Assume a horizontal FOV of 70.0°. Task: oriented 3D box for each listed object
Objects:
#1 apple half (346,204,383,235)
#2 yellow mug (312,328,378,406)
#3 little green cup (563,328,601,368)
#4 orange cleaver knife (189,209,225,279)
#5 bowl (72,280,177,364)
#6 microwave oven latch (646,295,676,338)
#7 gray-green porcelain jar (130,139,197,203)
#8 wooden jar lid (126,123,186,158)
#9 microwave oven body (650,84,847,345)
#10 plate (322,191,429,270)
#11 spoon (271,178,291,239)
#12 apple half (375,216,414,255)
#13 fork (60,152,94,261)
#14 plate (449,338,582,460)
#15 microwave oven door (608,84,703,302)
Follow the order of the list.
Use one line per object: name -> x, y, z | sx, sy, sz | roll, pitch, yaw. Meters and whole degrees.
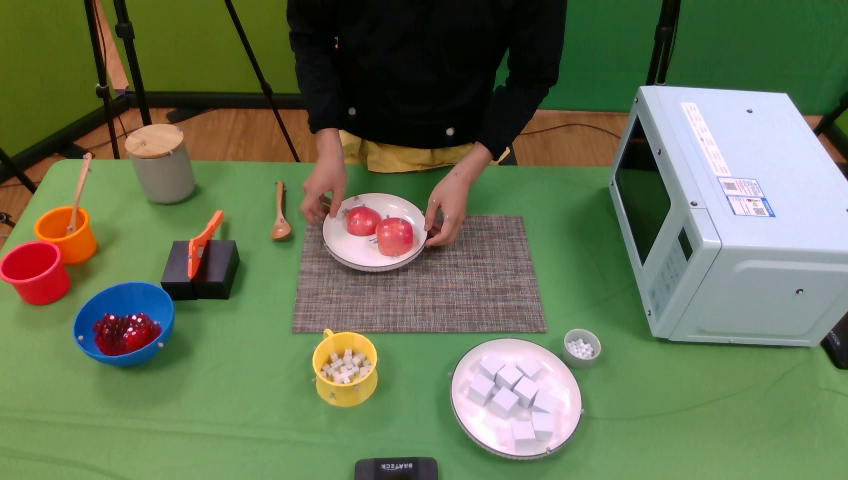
apple half -> -0.119, -0.049, 1.207 | 0.081, 0.033, 0.081 | 3, 50, -3
yellow mug -> -0.132, 0.193, 0.971 | 0.100, 0.064, 0.130 | -22, 51, -22
little green cup -> 0.265, 0.184, 1.025 | 0.061, 0.039, 0.061 | 1, 46, -1
orange cleaver knife -> -0.401, 0.002, 1.122 | 0.012, 0.077, 0.210 | 4, 23, -4
bowl -> -0.473, 0.147, 0.982 | 0.151, 0.077, 0.150 | 2, 46, -2
microwave oven latch -> 0.413, 0.133, 1.061 | 0.030, 0.029, 0.078 | 4, 46, 1
gray-green porcelain jar -> -0.522, -0.148, 1.225 | 0.106, 0.127, 0.105 | 2, 47, -2
wooden jar lid -> -0.519, -0.190, 1.179 | 0.108, 0.021, 0.107 | 2, 44, -2
microwave oven body -> 0.569, -0.054, 1.116 | 0.326, 0.261, 0.439 | 2, 46, -1
plate -> -0.094, -0.015, 1.185 | 0.209, 0.038, 0.208 | 2, 46, -2
spoon -> -0.293, -0.068, 1.238 | 0.041, 0.022, 0.192 | -19, 48, 7
apple half -> -0.056, -0.017, 1.169 | 0.075, 0.053, 0.080 | 0, 46, -7
fork -> -0.638, -0.063, 1.119 | 0.028, 0.018, 0.207 | 12, 90, 6
plate -> 0.141, 0.251, 0.956 | 0.208, 0.039, 0.206 | 2, 46, -2
microwave oven door -> 0.424, -0.096, 1.138 | 0.039, 0.245, 0.353 | 2, 47, -1
